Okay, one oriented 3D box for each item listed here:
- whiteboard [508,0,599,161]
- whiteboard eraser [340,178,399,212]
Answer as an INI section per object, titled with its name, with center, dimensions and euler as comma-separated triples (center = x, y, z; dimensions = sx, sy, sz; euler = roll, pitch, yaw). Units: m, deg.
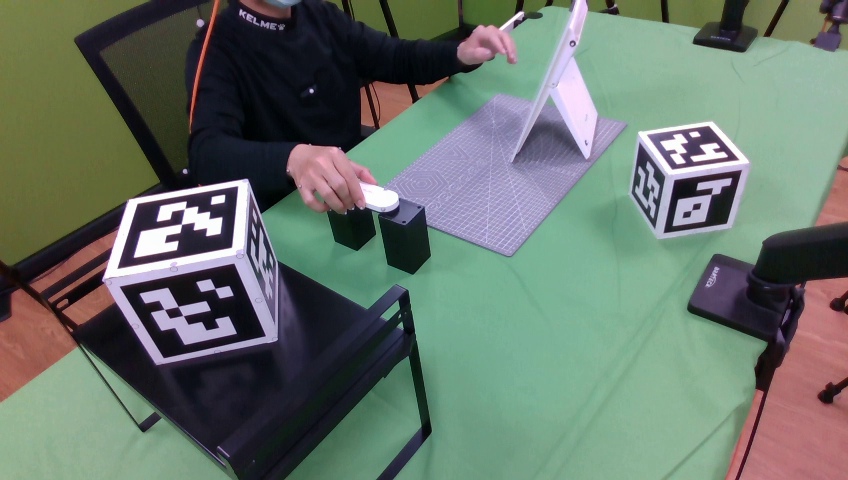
[whiteboard]
center = 0.285, -0.289, 1.088
dimensions = 0.144, 0.305, 0.217
euler = 22, 45, 3
[whiteboard eraser]
center = -0.083, -0.068, 0.906
dimensions = 0.100, 0.019, 0.041
euler = 20, 50, 29
